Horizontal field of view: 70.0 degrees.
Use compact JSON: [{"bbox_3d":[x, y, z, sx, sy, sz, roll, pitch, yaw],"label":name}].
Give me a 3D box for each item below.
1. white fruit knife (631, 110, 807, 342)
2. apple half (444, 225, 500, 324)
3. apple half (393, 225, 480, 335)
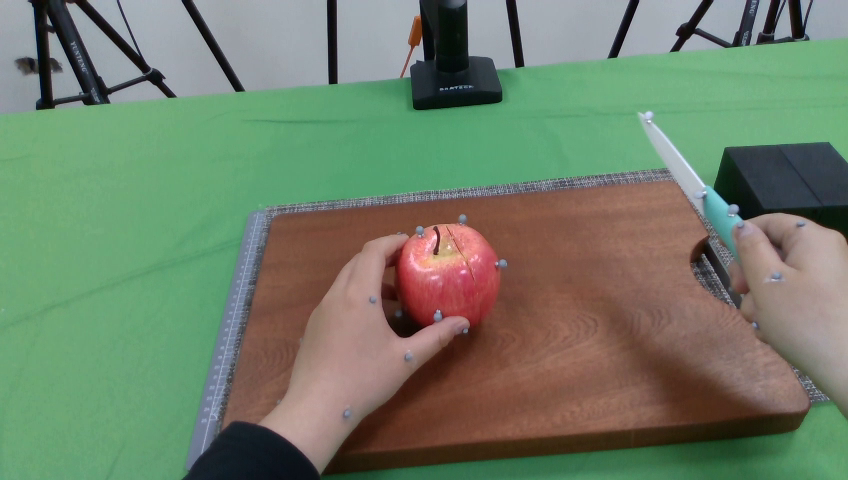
[{"bbox_3d":[0.193,-0.023,0.418,0.016,0.028,0.205,-16,54,-8],"label":"white fruit knife"},{"bbox_3d":[0.041,0.024,0.467,0.033,0.082,0.080,-19,42,-9],"label":"apple half"},{"bbox_3d":[0.005,0.035,0.460,0.053,0.075,0.080,-19,48,-9],"label":"apple half"}]
